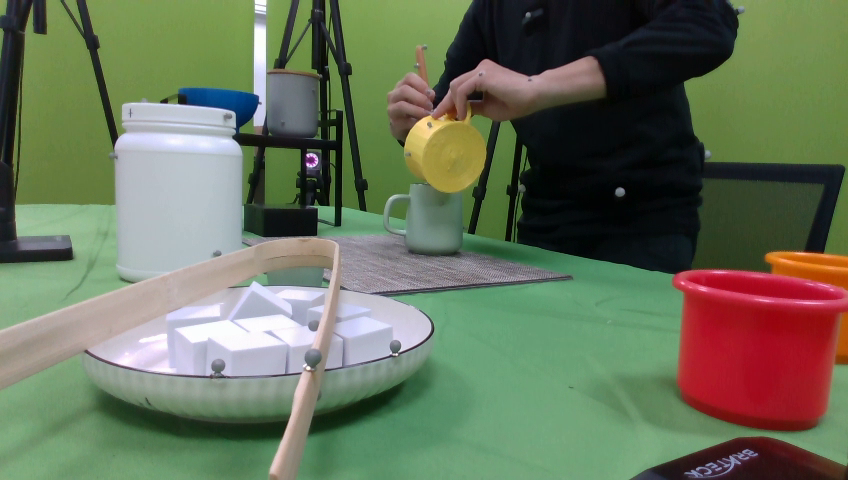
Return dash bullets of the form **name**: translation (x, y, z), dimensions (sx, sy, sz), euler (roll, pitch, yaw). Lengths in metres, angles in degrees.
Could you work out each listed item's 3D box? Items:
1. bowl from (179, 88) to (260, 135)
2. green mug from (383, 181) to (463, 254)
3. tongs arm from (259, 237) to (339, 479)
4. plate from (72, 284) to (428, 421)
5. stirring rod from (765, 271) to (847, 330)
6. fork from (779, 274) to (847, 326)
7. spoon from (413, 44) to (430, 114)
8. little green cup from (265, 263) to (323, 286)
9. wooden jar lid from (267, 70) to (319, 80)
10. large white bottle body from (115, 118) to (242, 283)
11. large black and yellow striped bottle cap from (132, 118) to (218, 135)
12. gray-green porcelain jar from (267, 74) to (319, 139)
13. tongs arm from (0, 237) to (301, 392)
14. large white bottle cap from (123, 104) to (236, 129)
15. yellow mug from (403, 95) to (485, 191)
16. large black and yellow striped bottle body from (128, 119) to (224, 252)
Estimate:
- **bowl**: translation (-0.400, -0.248, 1.188), dimensions (0.151, 0.077, 0.151), euler (2, 6, 0)
- **green mug**: translation (-0.001, -0.035, 0.922), dimensions (0.126, 0.105, 0.092), euler (0, 8, -16)
- **tongs arm**: translation (-0.074, 0.040, 0.345), dimensions (0.051, 0.026, 0.384), euler (-1, 9, -3)
- **plate**: translation (-0.102, 0.066, 0.381), dimensions (0.208, 0.039, 0.207), euler (2, 7, 0)
- **stirring rod**: translation (0.352, 0.020, 0.481), dimensions (0.176, 0.006, 0.014), euler (-40, -8, 17)
- **fork**: translation (0.332, 0.018, 0.443), dimensions (0.028, 0.018, 0.207), euler (-2, -35, -16)
- **spoon**: translation (0.004, -0.196, 0.901), dimensions (0.041, 0.193, 0.022), euler (-11, -5, 9)
- **little green cup**: translation (-0.134, 0.034, 0.628), dimensions (0.061, 0.038, 0.061), euler (3, 7, 0)
- **wooden jar lid**: translation (-0.275, -0.340, 1.271), dimensions (0.108, 0.020, 0.108), euler (5, 6, 0)
- **large white bottle body**: translation (-0.270, -0.051, 0.673), dimensions (0.131, 0.184, 0.130), euler (2, 8, 0)
- **large black and yellow striped bottle cap**: translation (-0.359, -0.164, 0.875), dimensions (0.115, 0.019, 0.115), euler (2, 6, 0)
- **gray-green porcelain jar**: translation (-0.277, -0.279, 1.280), dimensions (0.106, 0.126, 0.106), euler (2, 7, 0)
- **tongs arm**: translation (-0.158, 0.038, 0.346), dimensions (0.028, 0.028, 0.388), euler (-3, 8, 11)
- **large white bottle cap**: translation (-0.266, -0.134, 0.663), dimensions (0.115, 0.018, 0.115), euler (3, 7, 0)
- **yellow mug**: translation (0.033, -0.141, 0.851), dimensions (0.100, 0.130, 0.063), euler (13, 15, -30)
- **large black and yellow striped bottle body**: translation (-0.361, -0.081, 0.887), dimensions (0.131, 0.184, 0.130), euler (2, 8, 0)
